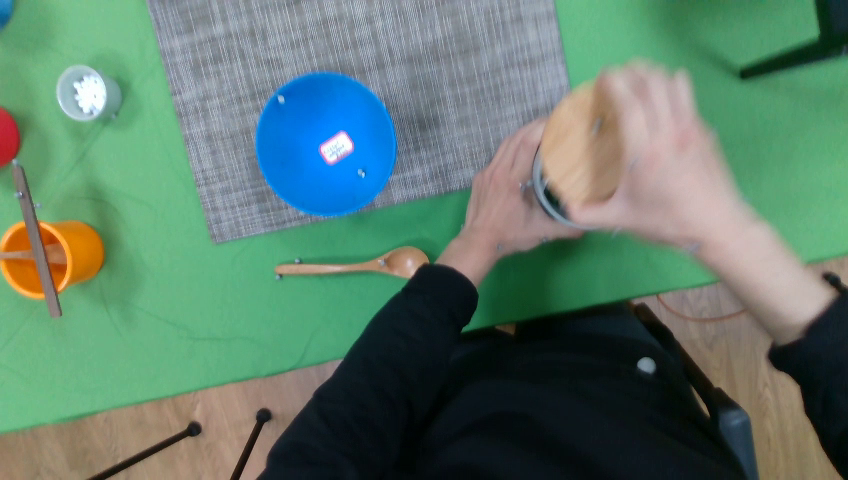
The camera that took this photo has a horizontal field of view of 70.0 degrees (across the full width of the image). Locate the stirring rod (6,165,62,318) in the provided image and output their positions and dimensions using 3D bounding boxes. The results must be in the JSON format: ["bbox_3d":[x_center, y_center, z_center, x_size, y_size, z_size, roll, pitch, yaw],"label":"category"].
[{"bbox_3d":[-0.438,0.003,0.681,0.014,0.006,0.176,-11,98,5],"label":"stirring rod"}]

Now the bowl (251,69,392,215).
[{"bbox_3d":[-0.103,-0.106,0.665,0.151,0.076,0.152,1,100,6],"label":"bowl"}]

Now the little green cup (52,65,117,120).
[{"bbox_3d":[-0.393,-0.170,0.707,0.061,0.038,0.062,1,100,6],"label":"little green cup"}]

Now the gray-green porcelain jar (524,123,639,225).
[{"bbox_3d":[0.158,-0.077,0.621,0.106,0.126,0.106,1,102,3],"label":"gray-green porcelain jar"}]

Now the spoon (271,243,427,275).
[{"bbox_3d":[-0.091,0.028,0.718,0.193,0.021,0.042,-4,117,6],"label":"spoon"}]

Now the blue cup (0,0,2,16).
[{"bbox_3d":[-0.534,-0.274,0.671,0.092,0.100,0.093,1,100,7],"label":"blue cup"}]

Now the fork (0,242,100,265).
[{"bbox_3d":[-0.488,0.018,0.691,0.208,0.018,0.028,-1,104,-38],"label":"fork"}]

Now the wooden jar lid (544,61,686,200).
[{"bbox_3d":[0.150,-0.086,0.482,0.108,0.020,0.109,1,108,5],"label":"wooden jar lid"}]
